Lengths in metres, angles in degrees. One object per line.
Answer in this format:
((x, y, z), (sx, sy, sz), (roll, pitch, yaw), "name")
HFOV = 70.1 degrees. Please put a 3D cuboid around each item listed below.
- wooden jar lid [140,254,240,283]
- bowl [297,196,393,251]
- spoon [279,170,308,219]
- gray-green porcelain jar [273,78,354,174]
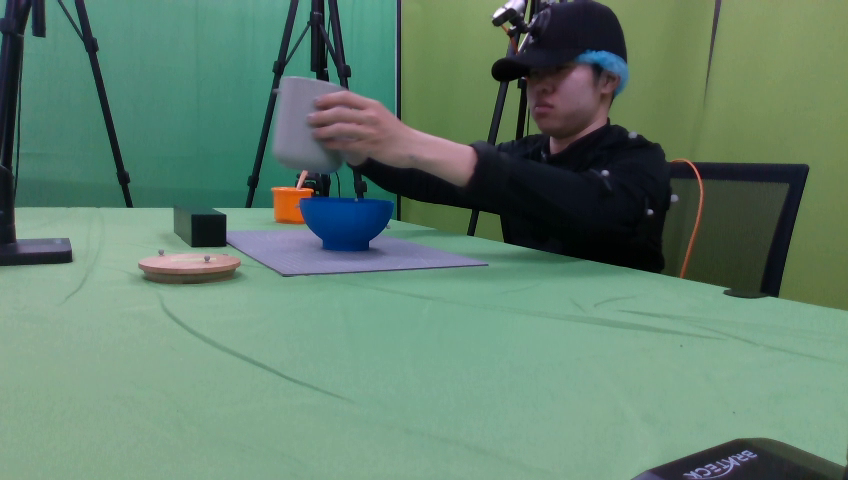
((-0.269, 0.032, 0.698), (0.108, 0.020, 0.108), (2, 5, 0), "wooden jar lid")
((-0.125, -0.026, 0.958), (0.151, 0.077, 0.151), (3, 8, 0), "bowl")
((-0.285, -0.117, 1.371), (0.041, 0.193, 0.022), (3, -37, 11), "spoon")
((-0.167, -0.166, 0.904), (0.106, 0.126, 0.106), (10, 4, 0), "gray-green porcelain jar")
